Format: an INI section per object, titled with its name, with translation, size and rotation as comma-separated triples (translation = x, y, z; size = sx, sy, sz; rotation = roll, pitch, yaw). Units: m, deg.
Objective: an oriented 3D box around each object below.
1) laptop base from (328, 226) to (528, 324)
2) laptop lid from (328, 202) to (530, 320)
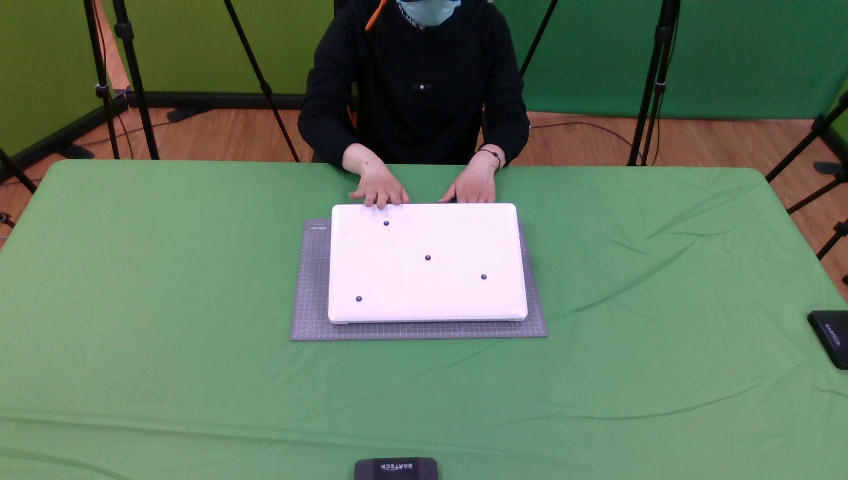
[laptop base]
translation = 0.004, 0.061, 1.137
size = 0.355, 0.023, 0.234
rotation = 0, 44, -4
[laptop lid]
translation = 0.007, 0.031, 1.097
size = 0.357, 0.013, 0.240
rotation = 1, 63, -3
